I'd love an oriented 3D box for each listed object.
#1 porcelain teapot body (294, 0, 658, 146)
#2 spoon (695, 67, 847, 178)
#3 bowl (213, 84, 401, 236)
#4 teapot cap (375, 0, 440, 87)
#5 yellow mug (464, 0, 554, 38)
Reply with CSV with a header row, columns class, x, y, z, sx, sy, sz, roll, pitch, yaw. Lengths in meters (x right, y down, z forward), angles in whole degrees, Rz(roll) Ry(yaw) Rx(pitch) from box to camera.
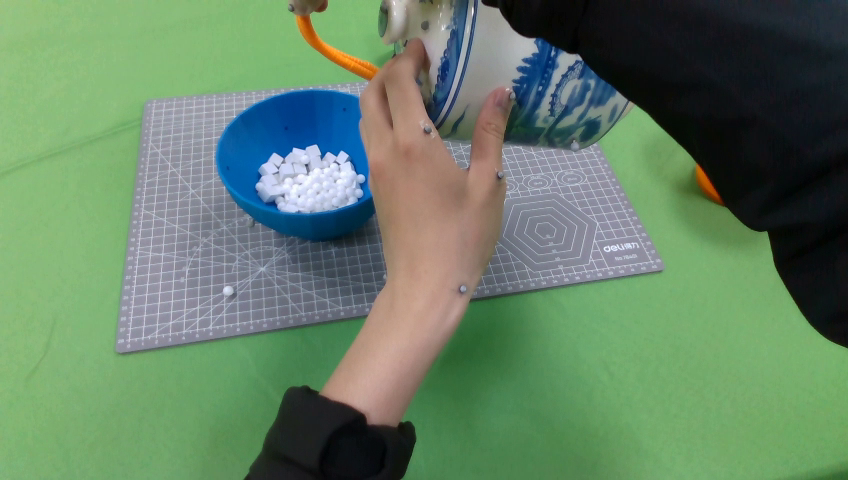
class,x,y,z,sx,sy,sz,roll,pitch,yaw
porcelain teapot body,0.020,-0.128,0.431,0.226,0.206,0.144,1,60,-20
spoon,0.339,-0.118,0.550,0.022,0.194,0.041,26,37,-42
bowl,-0.094,-0.056,0.519,0.151,0.077,0.150,2,52,-2
teapot cap,-0.009,-0.144,0.395,0.044,0.085,0.084,-3,52,-19
yellow mug,0.088,-0.264,0.638,0.099,0.064,0.130,20,56,12
